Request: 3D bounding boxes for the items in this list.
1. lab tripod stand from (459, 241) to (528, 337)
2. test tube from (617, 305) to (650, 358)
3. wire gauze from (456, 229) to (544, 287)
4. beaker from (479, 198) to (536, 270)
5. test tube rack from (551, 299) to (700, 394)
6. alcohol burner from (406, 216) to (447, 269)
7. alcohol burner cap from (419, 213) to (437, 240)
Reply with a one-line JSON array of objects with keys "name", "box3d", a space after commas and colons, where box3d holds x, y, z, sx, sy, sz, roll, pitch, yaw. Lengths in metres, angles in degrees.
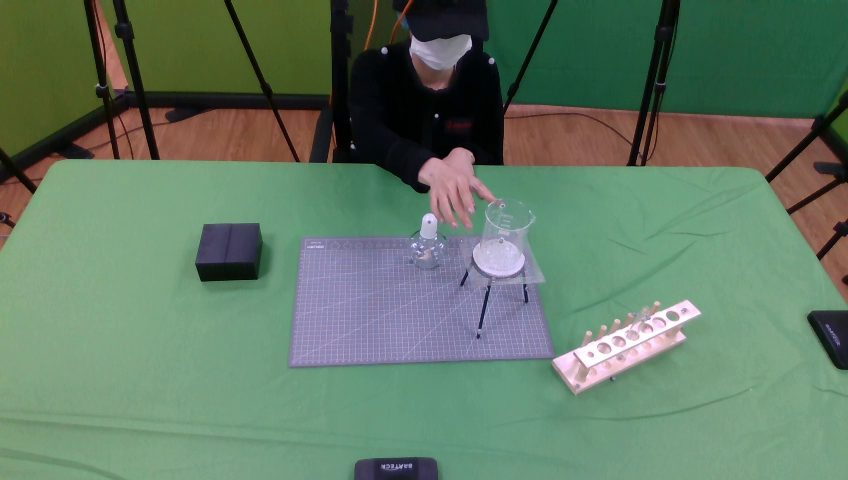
[{"name": "lab tripod stand", "box3d": [0.122, 0.075, 1.054, 0.148, 0.132, 0.147, 3, 44, -3]}, {"name": "test tube", "box3d": [0.333, 0.149, 0.967, 0.017, 0.151, 0.017, 0, 52, 1]}, {"name": "wire gauze", "box3d": [0.125, 0.030, 1.008, 0.125, 0.011, 0.120, -2, 48, -11]}, {"name": "beaker", "box3d": [0.131, -0.007, 0.975, 0.084, 0.101, 0.073, 3, 46, -4]}, {"name": "test tube rack", "box3d": [0.339, 0.166, 1.021, 0.242, 0.085, 0.066, -19, 50, -21]}, {"name": "alcohol burner", "box3d": [0.006, -0.003, 1.134, 0.078, 0.120, 0.077, 2, 48, -2]}, {"name": "alcohol burner cap", "box3d": [0.009, -0.027, 1.109, 0.034, 0.048, 0.033, 3, 44, -3]}]
